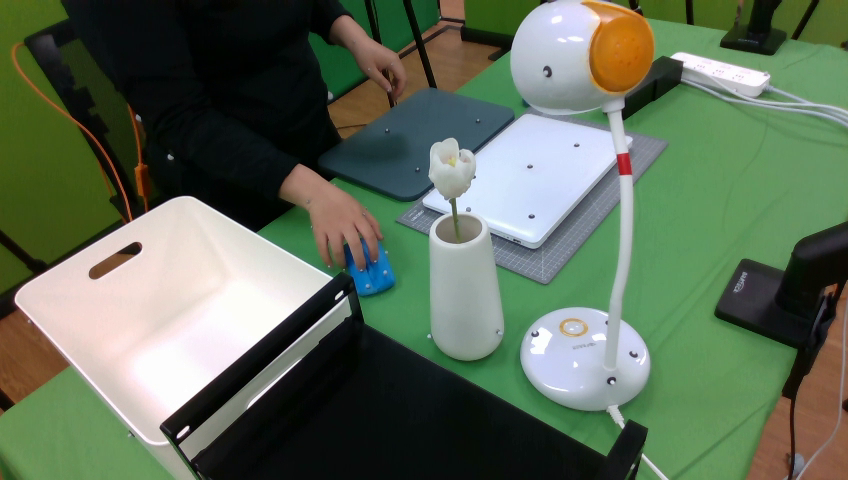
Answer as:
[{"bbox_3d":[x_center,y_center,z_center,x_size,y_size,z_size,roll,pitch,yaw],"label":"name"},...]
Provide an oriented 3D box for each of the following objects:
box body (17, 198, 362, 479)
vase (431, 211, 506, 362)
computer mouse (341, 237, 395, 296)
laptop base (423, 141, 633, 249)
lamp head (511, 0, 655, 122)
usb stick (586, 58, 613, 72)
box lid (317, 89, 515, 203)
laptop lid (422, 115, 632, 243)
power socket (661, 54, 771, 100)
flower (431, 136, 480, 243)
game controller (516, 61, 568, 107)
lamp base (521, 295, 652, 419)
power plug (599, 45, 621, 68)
[{"bbox_3d":[-0.285,0.123,0.766,0.361,0.161,0.255,25,49,33],"label":"box body"},{"bbox_3d":[0.054,0.062,0.757,0.098,0.201,0.097,-3,40,3],"label":"vase"},{"bbox_3d":[-0.088,0.037,0.935,0.063,0.041,0.116,-15,45,-11],"label":"computer mouse"},{"bbox_3d":[0.194,-0.117,1.087,0.233,0.023,0.355,21,47,34],"label":"laptop base"},{"bbox_3d":[0.155,-0.168,0.564,0.113,0.113,0.122,-18,23,-12],"label":"lamp head"},{"bbox_3d":[0.401,-0.399,1.380,0.059,0.027,0.021,1,48,20],"label":"usb stick"},{"bbox_3d":[-0.009,-0.207,1.236,0.261,0.015,0.372,23,49,32],"label":"box lid"},{"bbox_3d":[0.190,-0.126,1.081,0.239,0.013,0.358,23,48,34],"label":"laptop lid"},{"bbox_3d":[0.615,-0.348,1.285,0.072,0.033,0.225,-36,48,-28],"label":"power socket"},{"bbox_3d":[0.041,0.011,0.691,0.044,0.363,0.038,16,62,14],"label":"flower"},{"bbox_3d":[0.259,-0.352,1.336,0.097,0.052,0.154,-3,41,2],"label":"game controller"},{"bbox_3d":[0.201,0.095,0.710,0.161,0.181,0.177,-16,43,-10],"label":"lamp base"},{"bbox_3d":[0.436,-0.422,1.412,0.053,0.035,0.072,-17,75,-47],"label":"power plug"}]
